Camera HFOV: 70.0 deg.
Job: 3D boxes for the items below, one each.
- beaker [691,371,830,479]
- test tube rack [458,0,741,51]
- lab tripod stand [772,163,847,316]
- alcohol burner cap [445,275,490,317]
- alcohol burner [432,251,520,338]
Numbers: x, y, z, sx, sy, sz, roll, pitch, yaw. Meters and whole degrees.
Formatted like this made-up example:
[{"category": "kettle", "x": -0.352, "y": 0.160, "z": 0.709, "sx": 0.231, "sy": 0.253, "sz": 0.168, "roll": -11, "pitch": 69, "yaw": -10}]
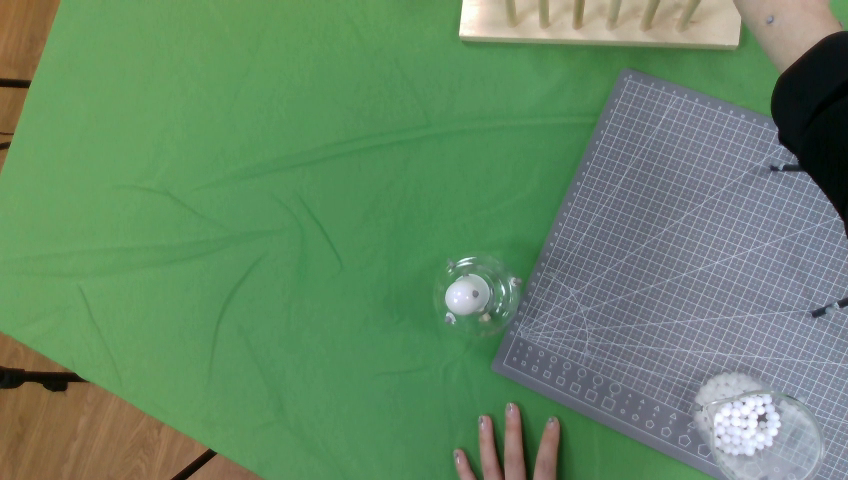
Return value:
[{"category": "beaker", "x": 0.250, "y": 0.142, "z": 0.471, "sx": 0.083, "sy": 0.100, "sz": 0.074, "roll": 30, "pitch": 95, "yaw": 13}, {"category": "test tube rack", "x": 0.144, "y": -0.210, "z": 0.512, "sx": 0.241, "sy": 0.085, "sz": 0.066, "roll": 6, "pitch": 90, "yaw": 13}, {"category": "lab tripod stand", "x": 0.328, "y": -0.009, "z": 0.437, "sx": 0.148, "sy": 0.132, "sz": 0.148, "roll": 0, "pitch": 90, "yaw": 13}, {"category": "alcohol burner cap", "x": 0.033, "y": 0.045, "z": 0.483, "sx": 0.034, "sy": 0.048, "sz": 0.034, "roll": 1, "pitch": 92, "yaw": 15}, {"category": "alcohol burner", "x": 0.042, "y": 0.047, "z": 0.518, "sx": 0.078, "sy": 0.119, "sz": 0.078, "roll": -1, "pitch": 87, "yaw": 12}]
